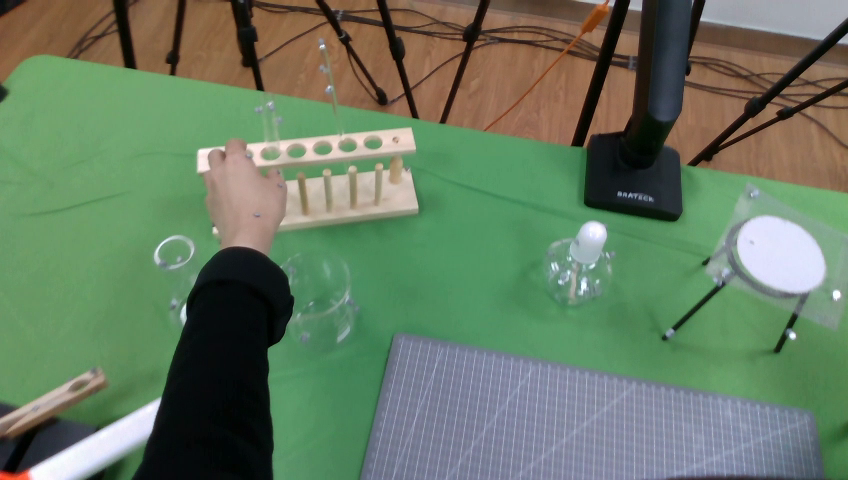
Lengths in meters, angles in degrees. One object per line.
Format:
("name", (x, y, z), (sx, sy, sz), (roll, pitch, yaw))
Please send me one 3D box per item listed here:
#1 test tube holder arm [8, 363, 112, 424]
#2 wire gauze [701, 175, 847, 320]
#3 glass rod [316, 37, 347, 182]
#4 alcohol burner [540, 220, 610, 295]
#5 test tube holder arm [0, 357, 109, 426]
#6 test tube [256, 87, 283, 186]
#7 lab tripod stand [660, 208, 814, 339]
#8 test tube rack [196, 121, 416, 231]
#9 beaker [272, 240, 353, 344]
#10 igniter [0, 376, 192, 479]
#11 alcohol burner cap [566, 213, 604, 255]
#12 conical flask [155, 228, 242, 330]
("test tube holder arm", (-0.332, 0.140, 0.553), (0.088, 0.015, 0.010), (-27, 62, -19))
("wire gauze", (0.346, 0.004, 0.586), (0.121, 0.011, 0.124), (30, 62, 13))
("glass rod", (-0.101, -0.137, 0.678), (0.008, 0.201, 0.008), (-1, 51, 2))
("alcohol burner", (0.170, 0.011, 0.664), (0.078, 0.120, 0.077), (2, 56, -3))
("test tube holder arm", (-0.372, 0.157, 0.540), (0.178, 0.015, 0.013), (-29, 62, -20))
("test tube", (-0.171, -0.110, 0.678), (0.017, 0.151, 0.017), (4, 56, -5))
("lab tripod stand", (0.336, 0.040, 0.643), (0.148, 0.132, 0.147), (2, 57, -3))
("test tube rack", (-0.133, -0.076, 0.717), (0.243, 0.086, 0.066), (-8, 59, -8))
("beaker", (-0.113, 0.061, 0.625), (0.074, 0.101, 0.083), (24, 60, 12))
("igniter", (-0.336, 0.201, 0.511), (0.277, 0.025, 0.057), (-29, 65, -23))
("alcohol burner cap", (0.170, -0.009, 0.633), (0.034, 0.048, 0.033), (2, 57, -3))
("conical flask", (-0.236, 0.036, 0.619), (0.075, 0.123, 0.074), (1, 57, -2))
